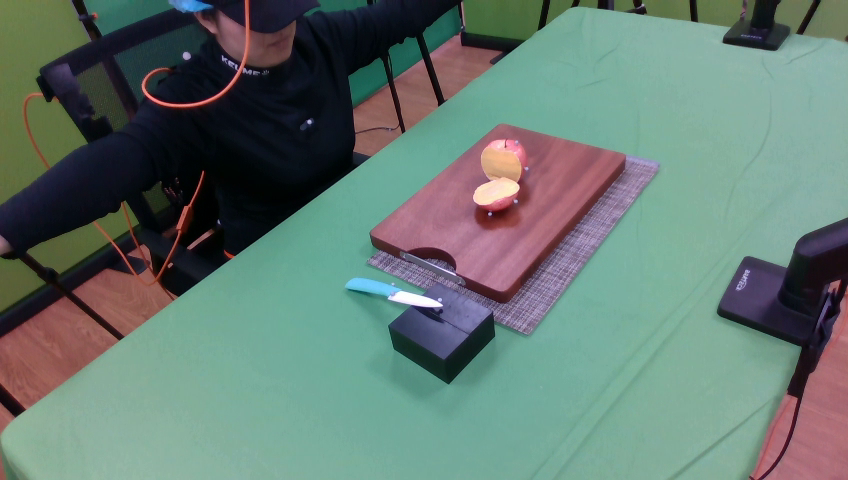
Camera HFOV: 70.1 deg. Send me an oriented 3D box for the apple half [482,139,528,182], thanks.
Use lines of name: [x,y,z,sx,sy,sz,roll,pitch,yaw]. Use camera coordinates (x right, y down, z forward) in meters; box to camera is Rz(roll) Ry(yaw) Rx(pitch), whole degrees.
apple half: [0.145,-0.138,1.038,0.080,0.075,0.053,15,41,31]

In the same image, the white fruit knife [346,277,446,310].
white fruit knife: [-0.042,0.077,0.865,0.205,0.016,0.027,9,41,46]

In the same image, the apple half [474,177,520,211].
apple half: [0.123,-0.070,0.993,0.081,0.033,0.081,-17,29,11]
